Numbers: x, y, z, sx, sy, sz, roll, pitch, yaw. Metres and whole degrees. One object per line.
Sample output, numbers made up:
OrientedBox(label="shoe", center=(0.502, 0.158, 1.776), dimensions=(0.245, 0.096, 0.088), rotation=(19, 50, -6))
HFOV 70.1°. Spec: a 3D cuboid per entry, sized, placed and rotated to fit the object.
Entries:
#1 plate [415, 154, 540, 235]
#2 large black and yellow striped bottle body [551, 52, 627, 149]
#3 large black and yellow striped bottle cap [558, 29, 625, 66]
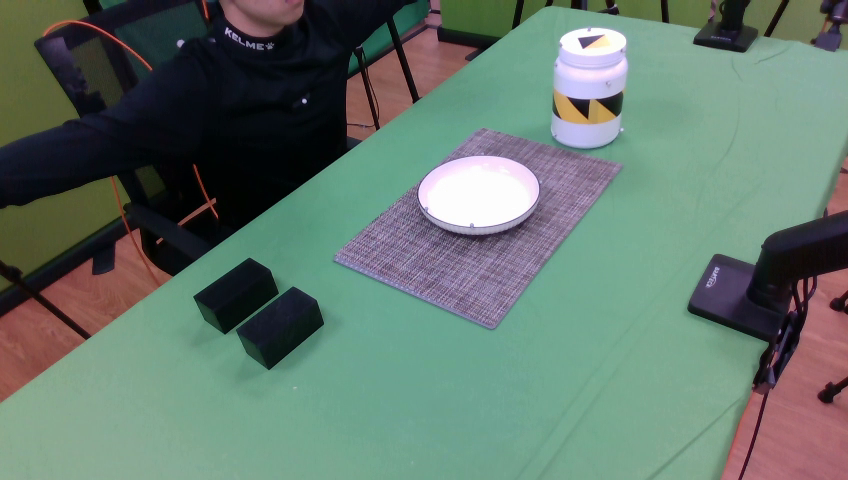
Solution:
OrientedBox(label="plate", center=(0.090, -0.074, 1.025), dimensions=(0.207, 0.039, 0.206), rotation=(-4, 41, 4))
OrientedBox(label="large black and yellow striped bottle body", center=(0.305, -0.278, 1.125), dimensions=(0.131, 0.185, 0.130), rotation=(-4, 41, 4))
OrientedBox(label="large black and yellow striped bottle cap", center=(0.297, -0.342, 1.071), dimensions=(0.115, 0.019, 0.114), rotation=(-3, 42, 4))
